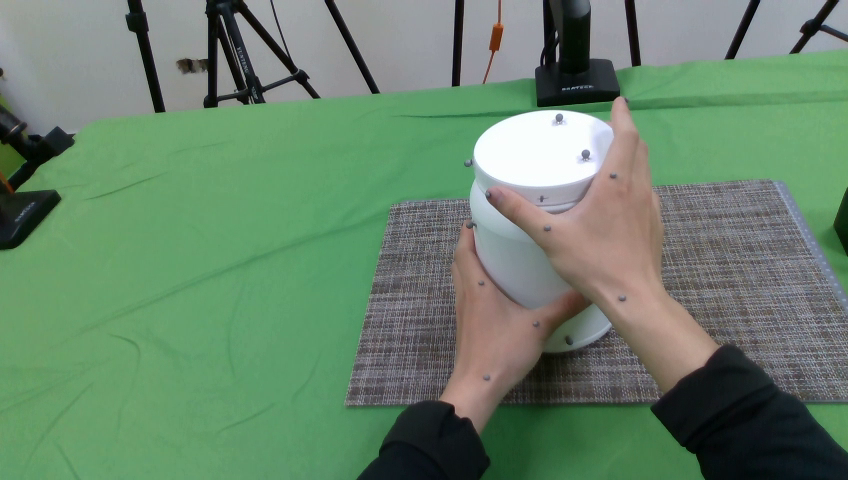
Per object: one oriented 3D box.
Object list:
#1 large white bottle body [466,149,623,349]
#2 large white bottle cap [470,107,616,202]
[{"bbox_3d":[0.107,-0.008,0.540,0.130,0.186,0.129,-7,40,6],"label":"large white bottle body"},{"bbox_3d":[0.094,-0.071,0.485,0.115,0.018,0.113,-6,40,6],"label":"large white bottle cap"}]
